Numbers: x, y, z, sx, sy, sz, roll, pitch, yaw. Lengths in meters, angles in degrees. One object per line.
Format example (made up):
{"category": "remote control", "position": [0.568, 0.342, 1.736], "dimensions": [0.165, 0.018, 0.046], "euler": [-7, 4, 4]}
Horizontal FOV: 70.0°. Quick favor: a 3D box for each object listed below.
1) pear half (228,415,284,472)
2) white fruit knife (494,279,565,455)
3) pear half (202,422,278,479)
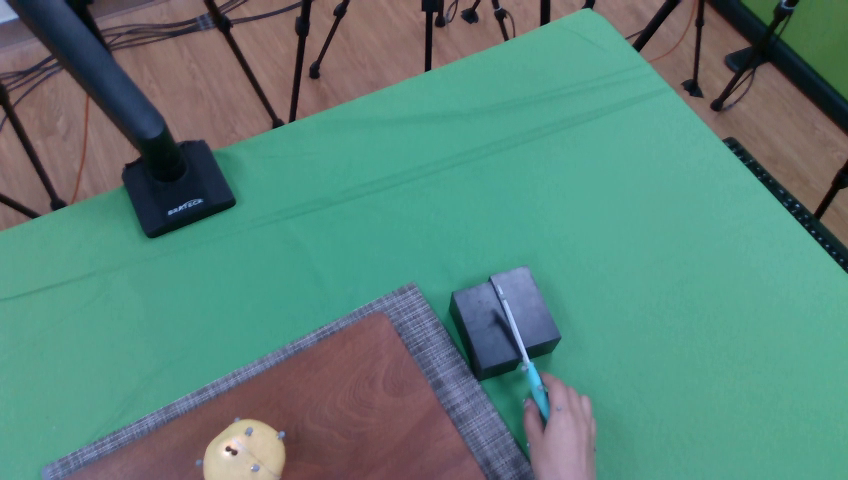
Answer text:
{"category": "pear half", "position": [-0.162, 0.195, 0.602], "dimensions": [0.070, 0.089, 0.031], "euler": [32, 64, 19]}
{"category": "white fruit knife", "position": [0.116, 0.141, 0.680], "dimensions": [0.016, 0.027, 0.207], "euler": [-19, 84, -11]}
{"category": "pear half", "position": [-0.184, 0.214, 0.579], "dimensions": [0.076, 0.111, 0.056], "euler": [33, 65, 18]}
